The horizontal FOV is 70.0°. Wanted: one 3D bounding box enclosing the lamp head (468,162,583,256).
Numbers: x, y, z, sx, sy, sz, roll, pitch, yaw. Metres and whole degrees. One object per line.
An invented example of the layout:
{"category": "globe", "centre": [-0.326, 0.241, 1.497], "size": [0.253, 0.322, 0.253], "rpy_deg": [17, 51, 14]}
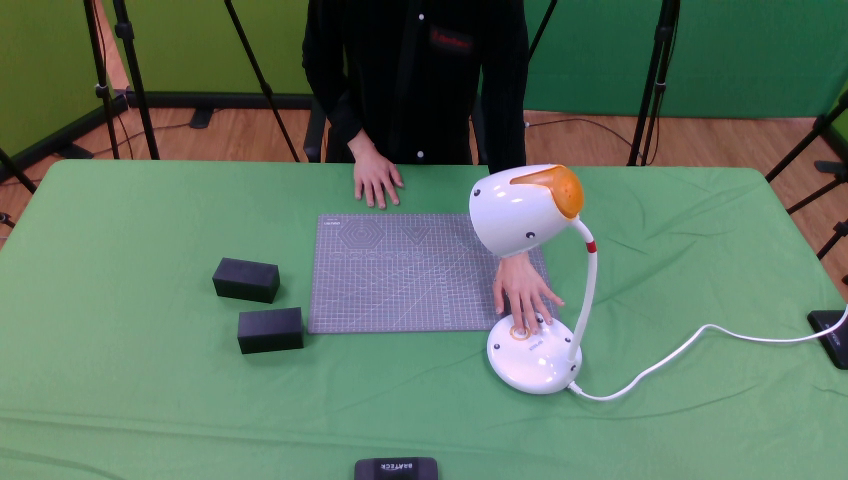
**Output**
{"category": "lamp head", "centre": [0.135, -0.043, 0.747], "size": [0.122, 0.113, 0.112], "rpy_deg": [-15, 30, 42]}

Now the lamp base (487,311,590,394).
{"category": "lamp base", "centre": [0.199, 0.142, 0.963], "size": [0.178, 0.181, 0.160], "rpy_deg": [38, 56, 24]}
